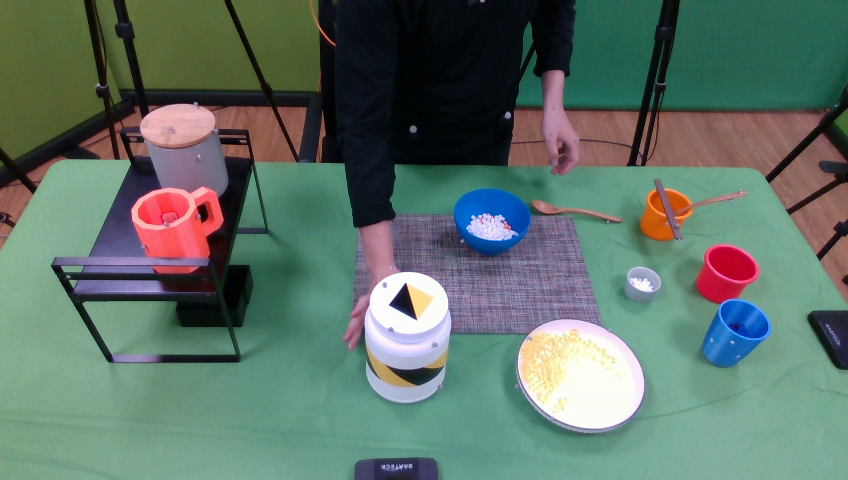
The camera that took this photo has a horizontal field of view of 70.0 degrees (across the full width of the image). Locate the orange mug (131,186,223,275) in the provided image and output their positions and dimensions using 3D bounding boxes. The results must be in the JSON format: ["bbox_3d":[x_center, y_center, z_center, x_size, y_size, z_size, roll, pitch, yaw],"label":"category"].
[{"bbox_3d":[-0.355,-0.023,0.887,0.083,0.101,0.126,31,56,24],"label":"orange mug"}]

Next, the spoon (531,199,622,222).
[{"bbox_3d":[0.322,-0.060,1.279,0.194,0.022,0.041,8,32,4],"label":"spoon"}]

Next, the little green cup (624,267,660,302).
[{"bbox_3d":[0.406,0.084,1.135,0.061,0.039,0.061,3,45,-3],"label":"little green cup"}]

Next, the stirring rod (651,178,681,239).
[{"bbox_3d":[0.480,-0.065,1.204,0.014,0.006,0.175,2,46,-3],"label":"stirring rod"}]

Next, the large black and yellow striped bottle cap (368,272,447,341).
[{"bbox_3d":[-0.023,0.093,0.875,0.115,0.019,0.114,3,46,-3],"label":"large black and yellow striped bottle cap"}]

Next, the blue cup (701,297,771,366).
[{"bbox_3d":[0.519,0.162,1.025,0.093,0.101,0.092,3,45,-3],"label":"blue cup"}]

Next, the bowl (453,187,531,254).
[{"bbox_3d":[0.128,-0.025,1.187,0.151,0.077,0.150,2,46,-2],"label":"bowl"}]

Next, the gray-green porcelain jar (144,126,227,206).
[{"bbox_3d":[-0.375,-0.126,0.967,0.106,0.127,0.105,2,46,-2],"label":"gray-green porcelain jar"}]

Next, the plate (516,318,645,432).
[{"bbox_3d":[0.253,0.221,0.992,0.209,0.038,0.208,2,46,-2],"label":"plate"}]

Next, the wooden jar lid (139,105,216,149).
[{"bbox_3d":[-0.372,-0.169,0.920,0.108,0.021,0.107,4,44,-4],"label":"wooden jar lid"}]

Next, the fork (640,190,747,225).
[{"bbox_3d":[0.533,-0.064,1.211,0.207,0.019,0.028,-22,28,38],"label":"fork"}]

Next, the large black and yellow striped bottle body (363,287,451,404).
[{"bbox_3d":[-0.027,0.153,0.935,0.131,0.185,0.130,2,46,-2],"label":"large black and yellow striped bottle body"}]
